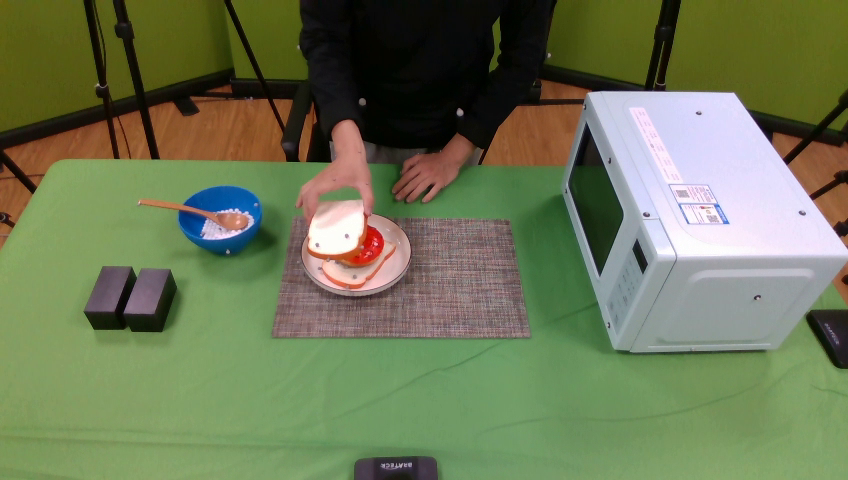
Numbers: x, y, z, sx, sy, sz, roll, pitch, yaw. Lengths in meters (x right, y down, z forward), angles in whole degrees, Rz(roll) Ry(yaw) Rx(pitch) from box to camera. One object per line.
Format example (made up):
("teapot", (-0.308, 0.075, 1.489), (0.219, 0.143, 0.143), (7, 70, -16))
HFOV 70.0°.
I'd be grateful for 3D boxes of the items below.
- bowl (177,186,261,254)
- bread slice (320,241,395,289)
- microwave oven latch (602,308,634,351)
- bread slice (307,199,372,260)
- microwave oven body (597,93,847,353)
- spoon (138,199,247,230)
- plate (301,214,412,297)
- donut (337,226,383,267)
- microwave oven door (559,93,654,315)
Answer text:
("bowl", (-0.383, -0.026, 1.158), (0.151, 0.077, 0.150), (2, 46, -2))
("bread slice", (-0.129, 0.037, 1.141), (0.107, 0.018, 0.134), (19, 46, 14))
("microwave oven latch", (0.332, 0.153, 1.044), (0.030, 0.029, 0.078), (-1, 45, -4))
("bread slice", (-0.149, -0.022, 1.049), (0.105, 0.019, 0.131), (0, 52, 6))
("microwave oven body", (0.475, -0.041, 1.110), (0.326, 0.261, 0.438), (-1, 45, -4))
("spoon", (-0.431, -0.053, 1.136), (0.194, 0.022, 0.041), (15, 48, -20))
("plate", (-0.126, 0.031, 1.145), (0.208, 0.039, 0.206), (2, 46, -2))
("donut", (-0.125, 0.010, 1.127), (0.099, 0.048, 0.098), (3, 45, -3))
("microwave oven door", (0.327, -0.074, 1.123), (0.039, 0.245, 0.353), (-1, 46, -5))
